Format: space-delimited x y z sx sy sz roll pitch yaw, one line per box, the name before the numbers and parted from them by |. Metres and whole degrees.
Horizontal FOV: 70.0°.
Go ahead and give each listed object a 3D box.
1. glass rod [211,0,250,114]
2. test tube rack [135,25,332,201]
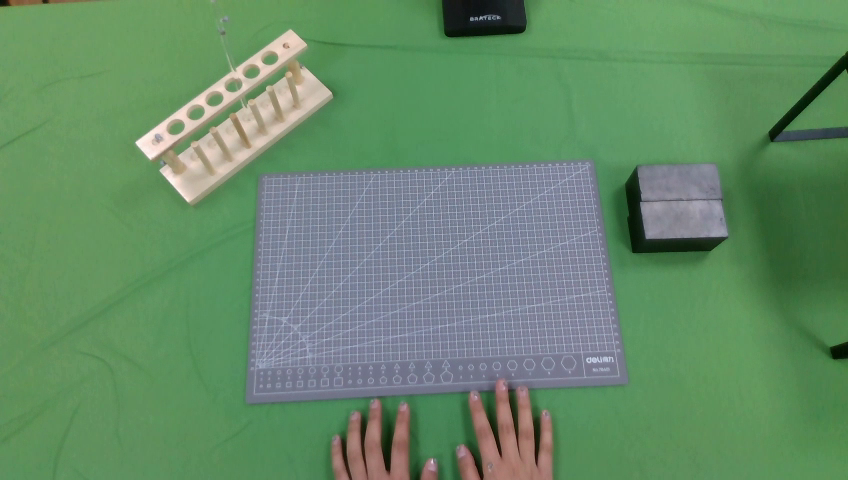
glass rod | -0.234 -0.220 0.741 0.008 0.201 0.008 2 62 -3
test tube rack | -0.240 -0.165 0.790 0.242 0.086 0.066 -42 74 -13
